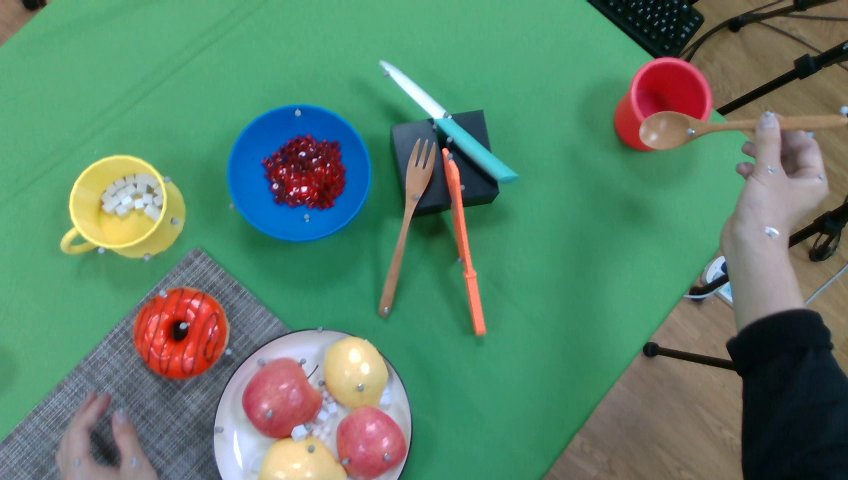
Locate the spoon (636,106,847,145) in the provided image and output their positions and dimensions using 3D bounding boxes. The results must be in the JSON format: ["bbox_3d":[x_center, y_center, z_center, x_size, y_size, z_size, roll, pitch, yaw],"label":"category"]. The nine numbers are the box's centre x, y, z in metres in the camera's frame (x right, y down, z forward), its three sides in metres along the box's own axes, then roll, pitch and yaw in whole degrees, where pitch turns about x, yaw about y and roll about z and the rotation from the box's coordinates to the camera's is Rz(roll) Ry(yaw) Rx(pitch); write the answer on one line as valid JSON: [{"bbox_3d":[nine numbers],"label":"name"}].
[{"bbox_3d":[0.296,-0.114,0.586,0.022,0.192,0.041,11,89,-38],"label":"spoon"}]

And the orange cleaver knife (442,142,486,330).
[{"bbox_3d":[0.044,-0.003,0.679,0.012,0.076,0.212,-12,107,-2],"label":"orange cleaver knife"}]

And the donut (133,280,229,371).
[{"bbox_3d":[-0.261,0.092,0.652,0.099,0.048,0.098,1,83,-3],"label":"donut"}]

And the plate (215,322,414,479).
[{"bbox_3d":[-0.115,0.193,0.652,0.209,0.038,0.208,1,81,-5],"label":"plate"}]

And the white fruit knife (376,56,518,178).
[{"bbox_3d":[0.022,-0.140,0.683,0.207,0.016,0.027,42,51,5],"label":"white fruit knife"}]

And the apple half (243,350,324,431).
[{"bbox_3d":[-0.150,0.160,0.636,0.074,0.053,0.080,-30,87,-8],"label":"apple half"}]

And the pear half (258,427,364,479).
[{"bbox_3d":[-0.114,0.240,0.630,0.110,0.056,0.076,15,84,-7],"label":"pear half"}]

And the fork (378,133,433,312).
[{"bbox_3d":[-0.024,-0.016,0.673,0.028,0.018,0.207,12,100,-11],"label":"fork"}]

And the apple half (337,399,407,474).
[{"bbox_3d":[-0.062,0.210,0.636,0.081,0.033,0.081,1,95,13],"label":"apple half"}]

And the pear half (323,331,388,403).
[{"bbox_3d":[-0.076,0.144,0.649,0.070,0.031,0.088,-18,92,15],"label":"pear half"}]

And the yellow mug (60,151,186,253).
[{"bbox_3d":[-0.333,-0.030,0.658,0.131,0.064,0.100,-37,85,-9],"label":"yellow mug"}]

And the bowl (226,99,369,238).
[{"bbox_3d":[-0.136,-0.071,0.677,0.151,0.077,0.151,1,81,-5],"label":"bowl"}]
